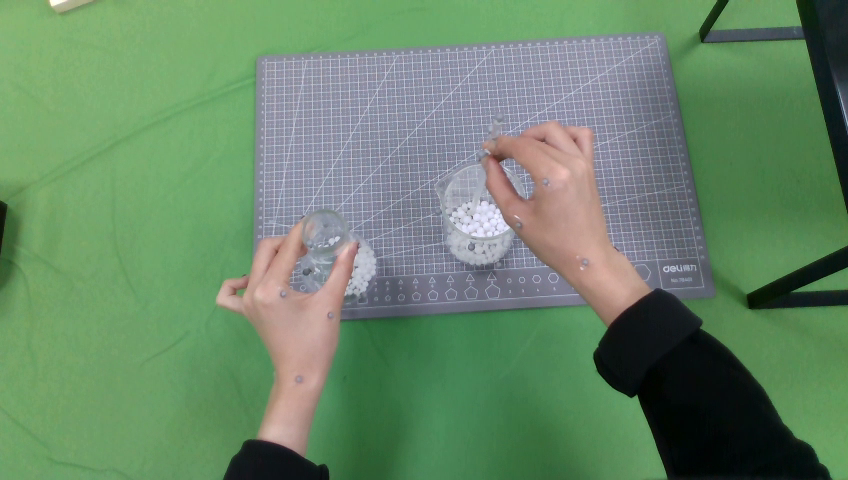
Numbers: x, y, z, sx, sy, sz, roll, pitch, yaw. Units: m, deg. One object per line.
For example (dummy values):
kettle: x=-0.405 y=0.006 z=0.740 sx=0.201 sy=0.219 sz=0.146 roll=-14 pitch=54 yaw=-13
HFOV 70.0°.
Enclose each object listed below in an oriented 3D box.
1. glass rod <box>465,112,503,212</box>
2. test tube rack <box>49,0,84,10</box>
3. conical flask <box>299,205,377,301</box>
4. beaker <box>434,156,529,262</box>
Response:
glass rod: x=0.048 y=-0.059 z=0.511 sx=0.008 sy=0.200 sz=0.008 roll=1 pitch=74 yaw=-2
test tube rack: x=-0.326 y=-0.352 z=0.674 sx=0.242 sy=0.085 sz=0.066 roll=-24 pitch=74 yaw=-6
conical flask: x=-0.082 y=0.007 z=0.540 sx=0.075 sy=0.122 sz=0.075 roll=1 pitch=72 yaw=-2
beaker: x=0.050 y=-0.024 z=0.563 sx=0.084 sy=0.101 sz=0.073 roll=20 pitch=74 yaw=8
